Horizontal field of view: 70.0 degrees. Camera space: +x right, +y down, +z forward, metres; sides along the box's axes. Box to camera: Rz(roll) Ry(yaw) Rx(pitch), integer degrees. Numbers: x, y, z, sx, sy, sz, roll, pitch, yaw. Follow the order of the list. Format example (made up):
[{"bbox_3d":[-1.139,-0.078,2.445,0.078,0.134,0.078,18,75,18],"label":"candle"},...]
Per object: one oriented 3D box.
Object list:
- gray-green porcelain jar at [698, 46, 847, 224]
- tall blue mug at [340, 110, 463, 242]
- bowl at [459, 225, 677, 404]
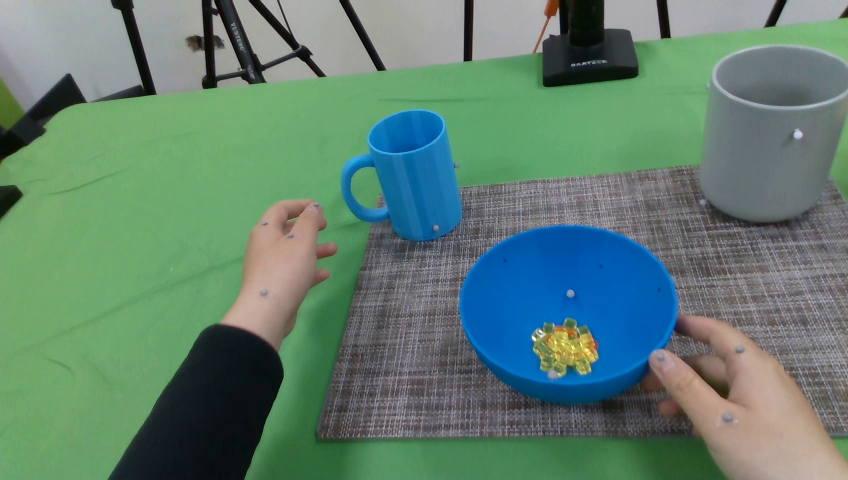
[{"bbox_3d":[0.300,-0.086,0.528,0.106,0.128,0.105,-8,42,7],"label":"gray-green porcelain jar"},{"bbox_3d":[-0.019,-0.054,0.595,0.107,0.109,0.077,-34,46,-21],"label":"tall blue mug"},{"bbox_3d":[0.106,0.067,0.451,0.151,0.077,0.150,-8,42,7],"label":"bowl"}]
